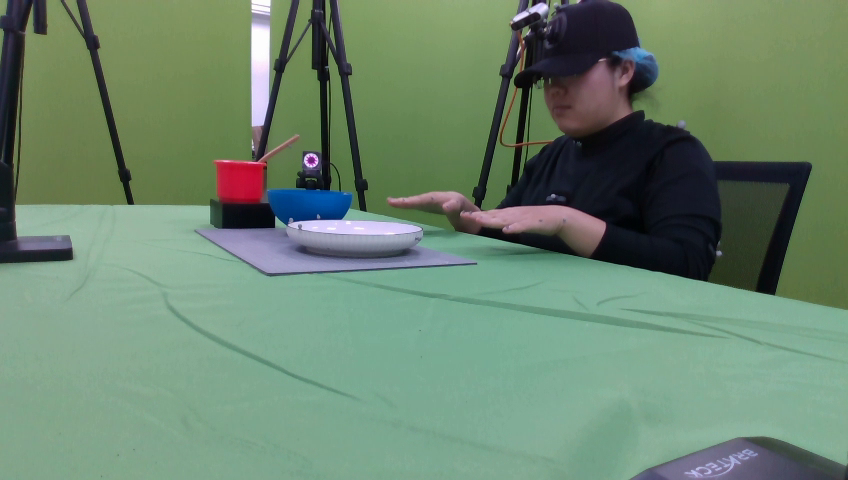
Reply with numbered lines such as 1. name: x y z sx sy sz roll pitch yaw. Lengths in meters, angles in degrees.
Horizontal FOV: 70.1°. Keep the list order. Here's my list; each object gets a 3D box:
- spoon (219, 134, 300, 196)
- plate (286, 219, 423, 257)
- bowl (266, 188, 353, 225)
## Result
1. spoon: -0.317 -0.146 1.171 0.194 0.022 0.041 -46 21 -14
2. plate: -0.105 -0.004 0.923 0.208 0.039 0.207 3 8 0
3. bowl: -0.204 -0.049 1.080 0.151 0.077 0.151 3 7 0
